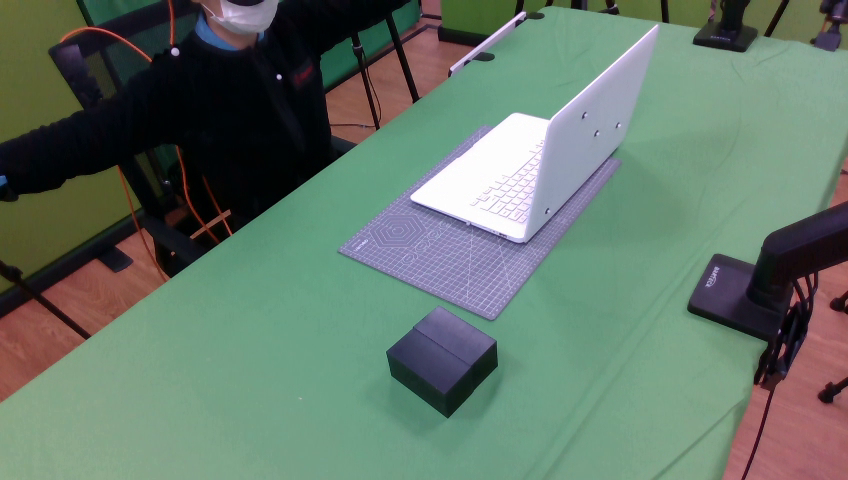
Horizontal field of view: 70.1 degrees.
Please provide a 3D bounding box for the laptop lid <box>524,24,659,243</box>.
[{"bbox_3d":[0.266,-0.170,0.949,0.013,0.242,0.358,30,50,25],"label":"laptop lid"}]

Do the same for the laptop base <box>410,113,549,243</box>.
[{"bbox_3d":[0.171,-0.126,1.095,0.233,0.023,0.355,21,47,33],"label":"laptop base"}]
